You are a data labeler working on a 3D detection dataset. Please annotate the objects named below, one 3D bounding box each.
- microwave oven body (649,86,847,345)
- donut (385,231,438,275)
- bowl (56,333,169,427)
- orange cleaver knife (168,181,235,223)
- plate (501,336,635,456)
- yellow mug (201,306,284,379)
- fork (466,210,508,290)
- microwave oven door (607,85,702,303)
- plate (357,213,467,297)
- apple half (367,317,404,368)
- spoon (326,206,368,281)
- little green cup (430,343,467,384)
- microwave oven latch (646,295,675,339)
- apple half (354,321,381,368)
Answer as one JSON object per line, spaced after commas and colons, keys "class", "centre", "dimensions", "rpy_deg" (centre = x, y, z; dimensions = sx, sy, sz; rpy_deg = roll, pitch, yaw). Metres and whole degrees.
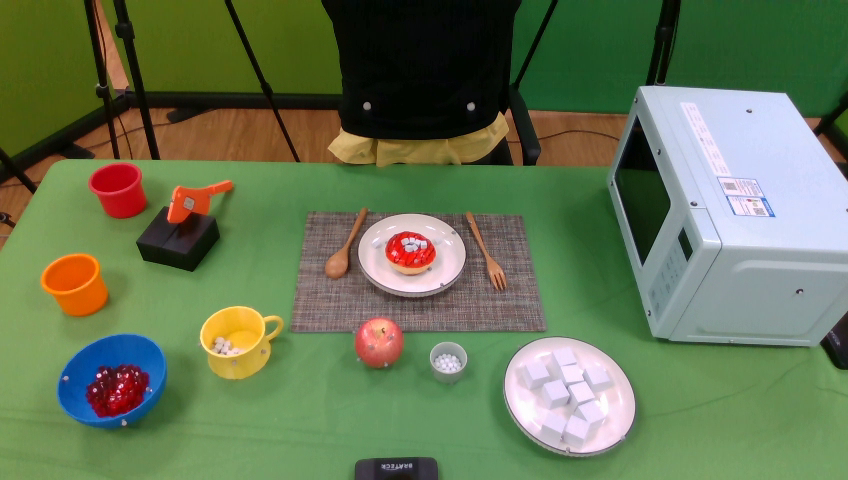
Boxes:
{"class": "microwave oven body", "centre": [0.568, -0.053, 1.118], "dimensions": [0.326, 0.261, 0.439], "rpy_deg": [2, 45, -1]}
{"class": "donut", "centre": [-0.024, 0.024, 1.142], "dimensions": [0.099, 0.048, 0.098], "rpy_deg": [3, 43, -3]}
{"class": "bowl", "centre": [-0.456, 0.223, 0.911], "dimensions": [0.151, 0.077, 0.150], "rpy_deg": [3, 46, -2]}
{"class": "orange cleaver knife", "centre": [-0.436, -0.078, 1.196], "dimensions": [0.012, 0.077, 0.211], "rpy_deg": [16, 15, 10]}
{"class": "plate", "centre": [0.225, 0.248, 0.964], "dimensions": [0.208, 0.039, 0.206], "rpy_deg": [2, 46, -2]}
{"class": "yellow mug", "centre": [-0.291, 0.160, 0.993], "dimensions": [0.131, 0.064, 0.099], "rpy_deg": [-23, 51, -25]}
{"class": "fork", "centre": [0.120, 0.016, 1.188], "dimensions": [0.028, 0.019, 0.206], "rpy_deg": [-17, 49, -5]}
{"class": "microwave oven door", "centre": [0.423, -0.094, 1.140], "dimensions": [0.039, 0.245, 0.353], "rpy_deg": [2, 46, -1]}
{"class": "plate", "centre": [-0.023, 0.032, 1.150], "dimensions": [0.209, 0.038, 0.208], "rpy_deg": [2, 46, -2]}
{"class": "apple half", "centre": [-0.061, 0.167, 0.998], "dimensions": [0.053, 0.075, 0.080], "rpy_deg": [-11, 44, -20]}
{"class": "spoon", "centre": [-0.145, 0.002, 1.187], "dimensions": [0.041, 0.022, 0.193], "rpy_deg": [11, 47, 8]}
{"class": "little green cup", "centre": [0.039, 0.203, 0.993], "dimensions": [0.061, 0.039, 0.061], "rpy_deg": [2, 46, -2]}
{"class": "microwave oven latch", "centre": [0.412, 0.134, 1.061], "dimensions": [0.030, 0.029, 0.078], "rpy_deg": [4, 45, 1]}
{"class": "apple half", "centre": [-0.097, 0.176, 0.985], "dimensions": [0.033, 0.081, 0.080], "rpy_deg": [-12, 48, -20]}
